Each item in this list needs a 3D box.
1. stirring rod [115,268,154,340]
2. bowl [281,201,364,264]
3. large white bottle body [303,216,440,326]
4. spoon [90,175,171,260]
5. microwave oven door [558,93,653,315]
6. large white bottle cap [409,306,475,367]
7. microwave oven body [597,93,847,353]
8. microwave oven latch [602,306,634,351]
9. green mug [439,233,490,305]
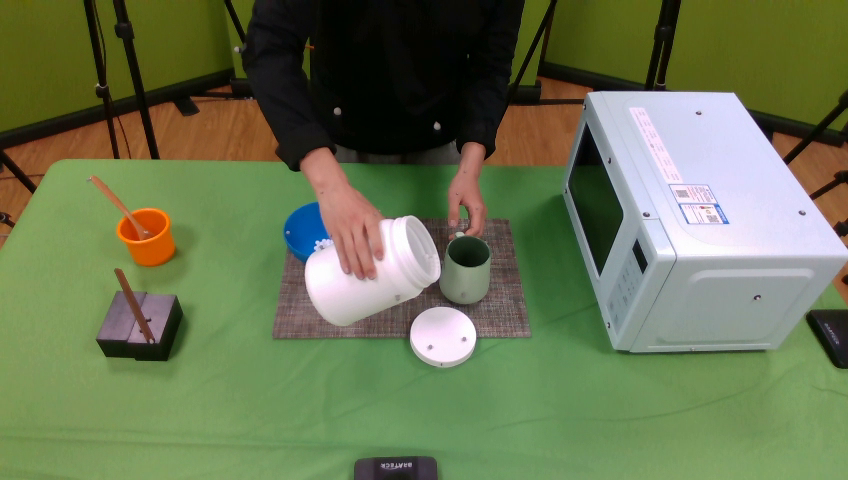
[{"bbox_3d":[-0.479,0.103,0.999,0.014,0.006,0.175,8,32,-49],"label":"stirring rod"},{"bbox_3d":[-0.187,0.005,1.137,0.151,0.077,0.150,3,46,-3],"label":"bowl"},{"bbox_3d":[-0.080,0.047,0.951,0.184,0.131,0.130,-24,42,21],"label":"large white bottle body"},{"bbox_3d":[-0.539,-0.042,1.111,0.041,0.194,0.021,-45,19,-32],"label":"spoon"},{"bbox_3d":[0.327,-0.074,1.123,0.039,0.245,0.353,-1,46,-5],"label":"microwave oven door"},{"bbox_3d":[0.031,0.164,1.040,0.115,0.018,0.114,3,50,-3],"label":"large white bottle cap"},{"bbox_3d":[0.475,-0.041,1.109,0.326,0.261,0.438,-1,45,-4],"label":"microwave oven body"},{"bbox_3d":[0.332,0.153,1.044,0.030,0.029,0.078,0,45,-4],"label":"microwave oven latch"},{"bbox_3d":[0.072,0.045,1.101,0.092,0.105,0.124,-6,46,-9],"label":"green mug"}]
